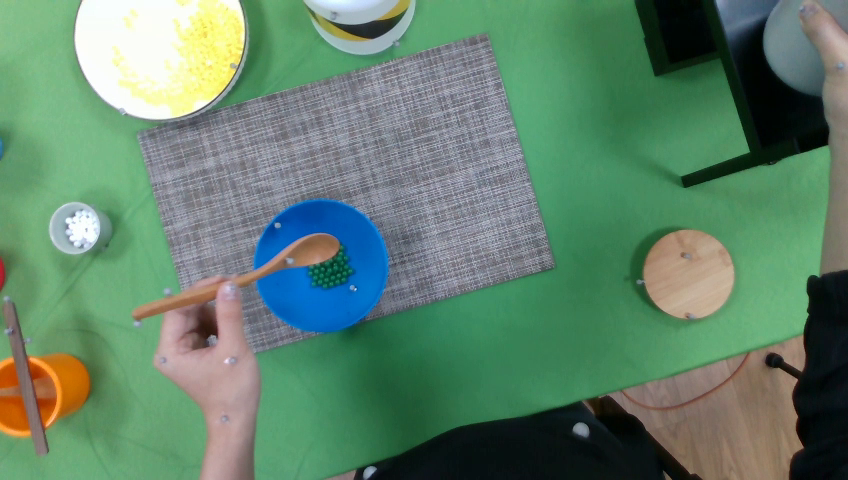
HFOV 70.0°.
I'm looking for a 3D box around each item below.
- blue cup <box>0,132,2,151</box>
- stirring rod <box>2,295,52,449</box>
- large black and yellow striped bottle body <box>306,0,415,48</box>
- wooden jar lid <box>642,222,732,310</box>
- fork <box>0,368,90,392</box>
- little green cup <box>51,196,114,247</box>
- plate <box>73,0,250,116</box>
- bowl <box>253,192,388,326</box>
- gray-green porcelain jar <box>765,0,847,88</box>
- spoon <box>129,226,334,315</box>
[{"bbox_3d":[-0.553,-0.123,0.701,0.092,0.100,0.092,0,91,2],"label":"blue cup"},{"bbox_3d":[-0.443,0.147,0.675,0.014,0.006,0.176,-14,90,-1],"label":"stirring rod"},{"bbox_3d":[-0.077,-0.301,0.659,0.131,0.184,0.130,0,89,1],"label":"large black and yellow striped bottle body"},{"bbox_3d":[0.318,0.032,0.739,0.108,0.020,0.108,0,91,1],"label":"wooden jar lid"},{"bbox_3d":[-0.492,0.164,0.678,0.209,0.018,0.028,4,92,-43],"label":"fork"},{"bbox_3d":[-0.410,-0.021,0.732,0.061,0.038,0.061,0,90,1],"label":"little green cup"},{"bbox_3d":[-0.312,-0.251,0.733,0.209,0.038,0.209,0,90,0],"label":"plate"},{"bbox_3d":[-0.114,0.022,0.708,0.151,0.077,0.151,0,90,1],"label":"bowl"},{"bbox_3d":[0.358,-0.194,0.499,0.106,0.127,0.105,0,77,1],"label":"gray-green porcelain jar"},{"bbox_3d":[-0.157,0.026,0.526,0.021,0.194,0.042,43,132,20],"label":"spoon"}]
